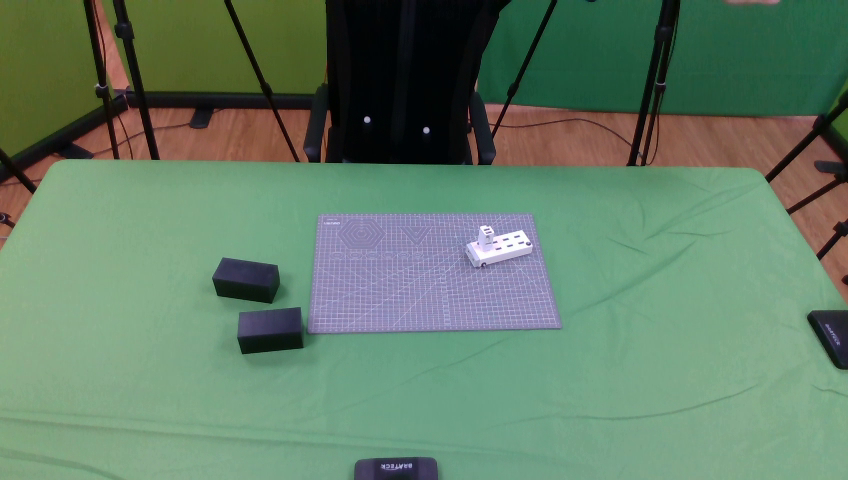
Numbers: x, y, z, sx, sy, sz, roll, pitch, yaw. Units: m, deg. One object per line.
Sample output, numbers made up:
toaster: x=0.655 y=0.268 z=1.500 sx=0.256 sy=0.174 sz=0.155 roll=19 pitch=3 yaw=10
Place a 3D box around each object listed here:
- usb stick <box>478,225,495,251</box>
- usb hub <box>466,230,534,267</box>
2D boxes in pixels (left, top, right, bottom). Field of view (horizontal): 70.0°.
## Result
usb stick: x=0.118 y=0.001 z=1.158 sx=0.021 sy=0.059 sz=0.027 roll=-15 pitch=50 yaw=-19
usb hub: x=0.148 y=0.017 z=1.185 sx=0.125 sy=0.025 sz=0.049 roll=-14 pitch=49 yaw=-16
